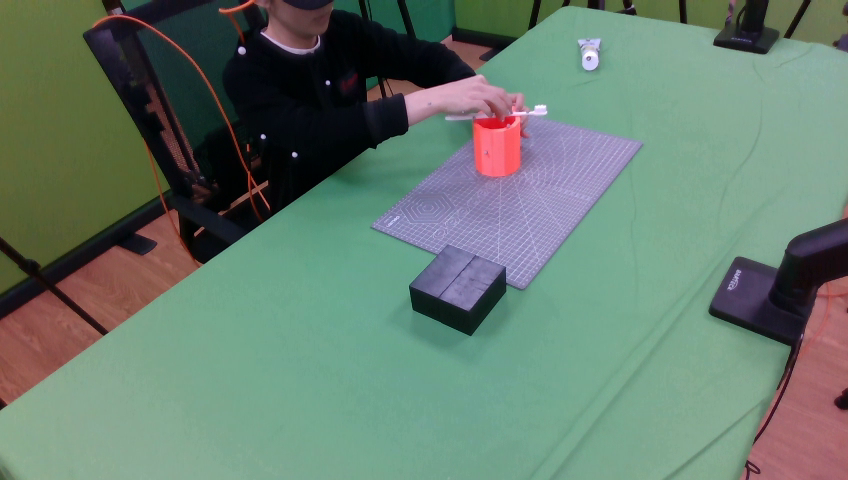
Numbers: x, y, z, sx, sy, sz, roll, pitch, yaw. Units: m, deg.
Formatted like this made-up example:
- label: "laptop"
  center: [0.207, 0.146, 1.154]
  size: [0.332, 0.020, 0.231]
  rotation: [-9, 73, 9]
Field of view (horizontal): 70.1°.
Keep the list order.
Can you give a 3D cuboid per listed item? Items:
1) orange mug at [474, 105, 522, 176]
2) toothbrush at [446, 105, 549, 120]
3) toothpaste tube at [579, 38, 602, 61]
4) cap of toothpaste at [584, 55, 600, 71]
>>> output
- label: "orange mug"
  center: [0.145, -0.192, 1.114]
  size: [0.083, 0.101, 0.126]
  rotation: [18, 51, 27]
- label: "toothbrush"
  center: [0.130, -0.225, 1.075]
  size: [0.182, 0.017, 0.014]
  rotation: [-3, 45, 6]
- label: "toothpaste tube"
  center: [0.398, -0.449, 1.433]
  size: [0.055, 0.034, 0.164]
  rotation: [6, 38, 8]
- label: "cap of toothpaste"
  center: [0.381, -0.403, 1.372]
  size: [0.037, 0.037, 0.011]
  rotation: [1, 38, 10]
